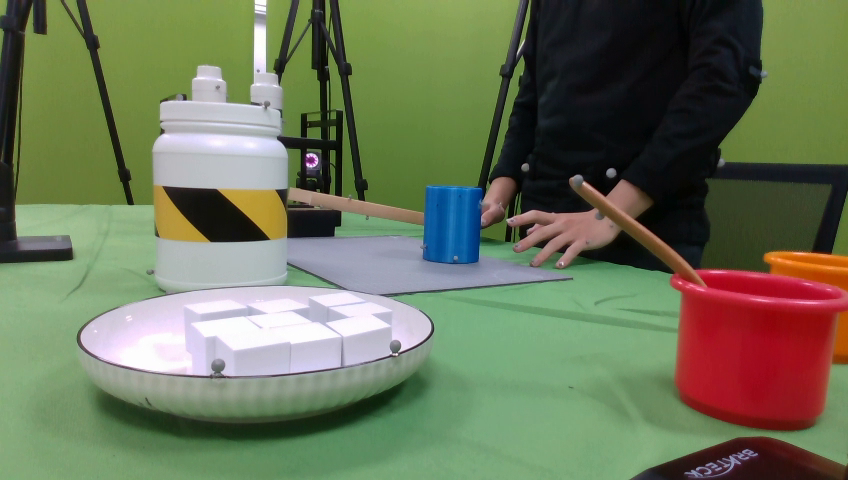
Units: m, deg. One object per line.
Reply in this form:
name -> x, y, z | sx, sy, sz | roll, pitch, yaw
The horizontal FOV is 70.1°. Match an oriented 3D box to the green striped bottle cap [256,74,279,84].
green striped bottle cap -> -0.314, -0.322, 1.214 | 0.044, 0.020, 0.044 | 1, 8, 0

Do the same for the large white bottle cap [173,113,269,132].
large white bottle cap -> -0.254, -0.146, 0.760 | 0.115, 0.018, 0.115 | 1, 7, 0

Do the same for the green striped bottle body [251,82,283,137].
green striped bottle body -> -0.317, -0.270, 1.220 | 0.063, 0.119, 0.063 | 2, 7, 0

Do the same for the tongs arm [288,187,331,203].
tongs arm -> -0.084, -0.061, 1.243 | 0.389, 0.027, 0.028 | 9, -2, -19

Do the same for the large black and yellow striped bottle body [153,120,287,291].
large black and yellow striped bottle body -> -0.208, -0.042, 0.626 | 0.131, 0.184, 0.130 | 2, 7, 0

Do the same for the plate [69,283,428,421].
plate -> -0.102, 0.066, 0.381 | 0.208, 0.039, 0.207 | 2, 7, 0

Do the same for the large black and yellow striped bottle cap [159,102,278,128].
large black and yellow striped bottle cap -> -0.207, -0.125, 0.615 | 0.115, 0.019, 0.115 | 2, 6, 0

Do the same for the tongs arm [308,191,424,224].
tongs arm -> -0.048, -0.051, 1.169 | 0.387, 0.026, 0.050 | 8, 2, -32

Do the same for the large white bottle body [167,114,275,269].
large white bottle body -> -0.256, -0.063, 0.771 | 0.131, 0.184, 0.130 | 2, 7, 0

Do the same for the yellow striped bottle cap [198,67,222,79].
yellow striped bottle cap -> -0.411, -0.320, 1.163 | 0.044, 0.018, 0.044 | 1, 6, 0

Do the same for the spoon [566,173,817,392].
spoon -> 0.161, 0.024, 0.370 | 0.193, 0.021, 0.042 | 47, 18, 3

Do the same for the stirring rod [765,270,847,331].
stirring rod -> 0.352, 0.020, 0.484 | 0.176, 0.006, 0.014 | -40, -7, 13

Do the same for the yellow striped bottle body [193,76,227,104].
yellow striped bottle body -> -0.414, -0.268, 1.169 | 0.063, 0.120, 0.063 | 2, 7, 0

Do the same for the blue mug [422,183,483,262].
blue mug -> 0.032, -0.028, 0.877 | 0.083, 0.106, 0.116 | -2, 8, -31

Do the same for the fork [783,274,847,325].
fork -> 0.332, 0.018, 0.443 | 0.028, 0.018, 0.207 | -1, -36, -15
